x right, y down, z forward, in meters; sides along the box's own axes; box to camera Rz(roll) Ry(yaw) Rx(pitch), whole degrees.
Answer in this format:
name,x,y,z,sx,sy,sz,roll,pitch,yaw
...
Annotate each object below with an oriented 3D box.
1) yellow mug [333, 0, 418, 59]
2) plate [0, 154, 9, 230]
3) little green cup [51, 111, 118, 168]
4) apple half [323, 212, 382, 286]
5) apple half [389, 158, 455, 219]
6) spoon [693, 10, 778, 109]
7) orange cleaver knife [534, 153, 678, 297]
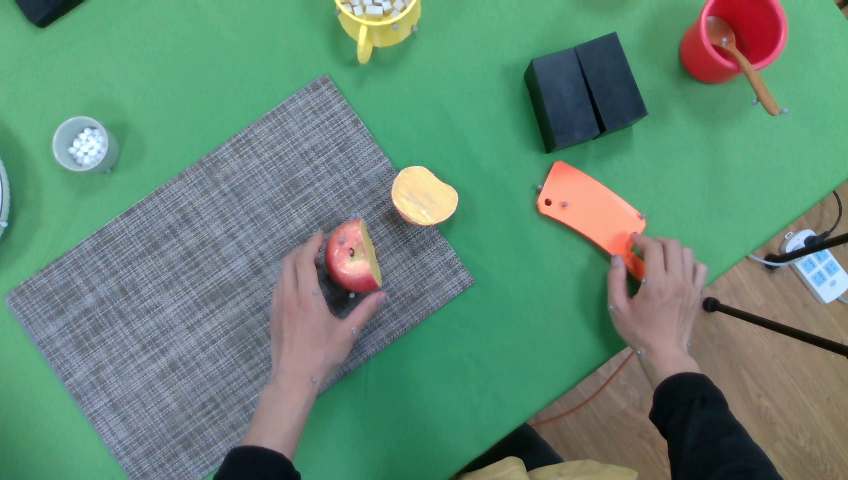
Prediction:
name,x,y,z,sx,sy,sz,roll,pitch,yaw
yellow mug,-0.060,-0.270,0.686,0.100,0.064,0.130,12,89,-1
plate,-0.566,-0.051,0.678,0.208,0.039,0.207,0,88,-1
little green cup,-0.381,-0.110,0.685,0.061,0.038,0.061,0,88,-1
apple half,-0.083,0.015,0.668,0.053,0.074,0.081,-18,91,4
apple half,-0.008,-0.050,0.689,0.081,0.033,0.080,10,57,-15
spoon,0.337,-0.200,0.656,0.041,0.022,0.192,0,43,-1
orange cleaver knife,0.220,-0.019,0.708,0.211,0.012,0.077,39,81,2
